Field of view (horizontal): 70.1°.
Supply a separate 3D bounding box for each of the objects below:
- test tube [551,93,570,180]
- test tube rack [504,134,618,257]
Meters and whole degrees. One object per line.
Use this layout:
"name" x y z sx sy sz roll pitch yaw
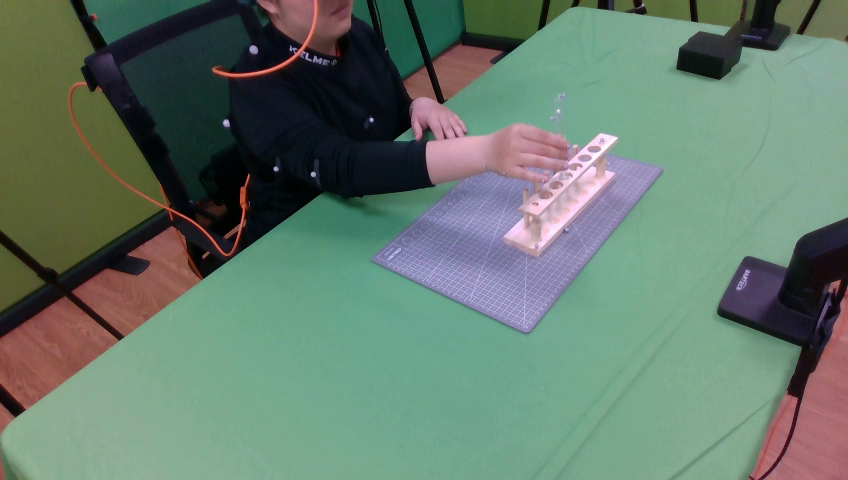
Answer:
"test tube" 0.204 -0.148 0.899 0.017 0.151 0.017 -10 39 9
"test tube rack" 0.225 -0.083 0.984 0.066 0.085 0.243 25 51 34
